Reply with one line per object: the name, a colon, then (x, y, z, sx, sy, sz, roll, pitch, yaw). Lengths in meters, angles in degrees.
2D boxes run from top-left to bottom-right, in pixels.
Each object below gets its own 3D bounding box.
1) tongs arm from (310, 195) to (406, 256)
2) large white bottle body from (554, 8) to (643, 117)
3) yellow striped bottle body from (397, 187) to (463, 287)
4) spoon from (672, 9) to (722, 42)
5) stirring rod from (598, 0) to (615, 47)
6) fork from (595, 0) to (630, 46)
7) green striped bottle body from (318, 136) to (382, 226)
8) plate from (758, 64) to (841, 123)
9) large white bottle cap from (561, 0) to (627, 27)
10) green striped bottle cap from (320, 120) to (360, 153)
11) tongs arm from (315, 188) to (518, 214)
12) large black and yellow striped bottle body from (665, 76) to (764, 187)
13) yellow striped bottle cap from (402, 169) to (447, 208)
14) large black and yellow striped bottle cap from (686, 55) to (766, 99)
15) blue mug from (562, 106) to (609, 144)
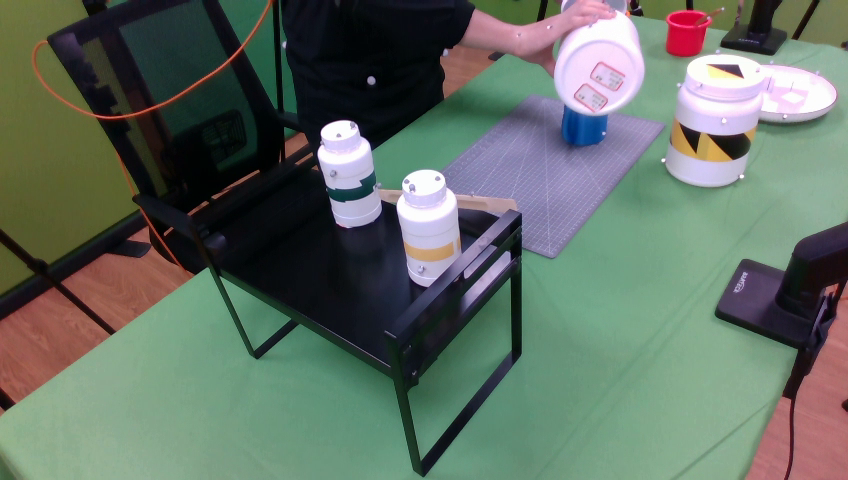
tongs arm: (-0.078, -0.012, 0.944, 0.028, 0.028, 0.384, -43, 39, -22)
large white bottle body: (0.281, -0.293, 0.975, 0.130, 0.131, 0.184, 4, 37, 13)
yellow striped bottle body: (0.007, -0.013, 0.638, 0.063, 0.121, 0.062, -5, 41, 4)
spoon: (0.606, -0.476, 1.345, 0.042, 0.021, 0.193, -6, -3, -2)
stirring rod: (0.437, -0.551, 1.462, 0.014, 0.006, 0.175, -11, 83, 1)
fork: (0.479, -0.556, 1.452, 0.028, 0.019, 0.207, 41, 103, 40)
green striped bottle body: (-0.090, -0.080, 0.733, 0.063, 0.120, 0.063, -4, 41, 4)
plate: (0.695, -0.283, 1.189, 0.207, 0.039, 0.206, -4, 40, 4)
large white bottle cap: (0.307, -0.420, 1.095, 0.114, 0.115, 0.018, -1, 64, 8)
green striped bottle cap: (-0.097, -0.120, 0.699, 0.044, 0.020, 0.044, -3, 40, 3)
tongs arm: (-0.028, -0.060, 0.988, 0.382, 0.027, 0.051, 9, 45, 36)
large black and yellow striped bottle body: (0.482, -0.196, 1.008, 0.131, 0.185, 0.130, -4, 41, 4)
yellow striped bottle cap: (0.000, -0.052, 0.605, 0.044, 0.019, 0.044, -5, 43, 5)
large black and yellow striped bottle cap: (0.474, -0.258, 0.952, 0.115, 0.019, 0.114, -5, 41, 5)
blue mug: (0.298, -0.240, 1.143, 0.081, 0.106, 0.117, 30, 53, 36)
